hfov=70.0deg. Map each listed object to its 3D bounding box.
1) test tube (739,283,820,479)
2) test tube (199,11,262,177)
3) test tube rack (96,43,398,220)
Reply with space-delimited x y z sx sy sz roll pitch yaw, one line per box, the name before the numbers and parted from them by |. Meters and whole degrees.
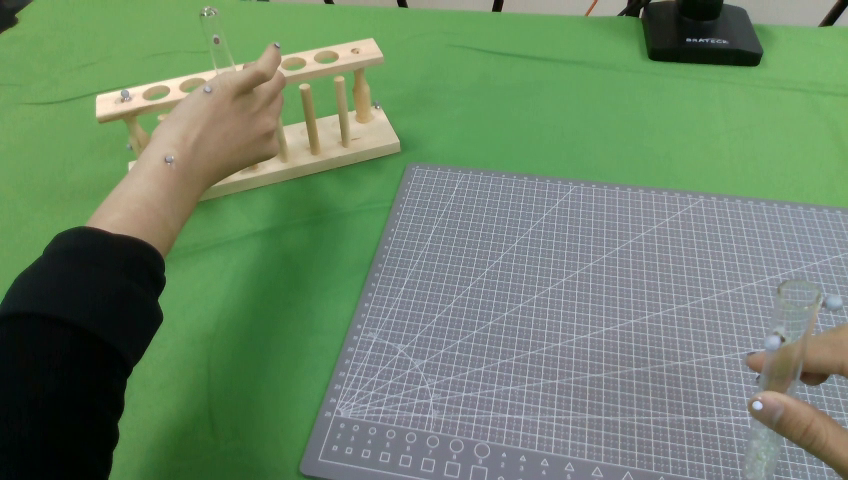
test tube | 0.162 0.075 0.282 0.017 0.152 0.017 -10 41 9
test tube | -0.157 -0.114 0.497 0.017 0.152 0.017 -1 45 2
test tube rack | -0.150 -0.100 0.545 0.243 0.086 0.066 -16 48 -13
